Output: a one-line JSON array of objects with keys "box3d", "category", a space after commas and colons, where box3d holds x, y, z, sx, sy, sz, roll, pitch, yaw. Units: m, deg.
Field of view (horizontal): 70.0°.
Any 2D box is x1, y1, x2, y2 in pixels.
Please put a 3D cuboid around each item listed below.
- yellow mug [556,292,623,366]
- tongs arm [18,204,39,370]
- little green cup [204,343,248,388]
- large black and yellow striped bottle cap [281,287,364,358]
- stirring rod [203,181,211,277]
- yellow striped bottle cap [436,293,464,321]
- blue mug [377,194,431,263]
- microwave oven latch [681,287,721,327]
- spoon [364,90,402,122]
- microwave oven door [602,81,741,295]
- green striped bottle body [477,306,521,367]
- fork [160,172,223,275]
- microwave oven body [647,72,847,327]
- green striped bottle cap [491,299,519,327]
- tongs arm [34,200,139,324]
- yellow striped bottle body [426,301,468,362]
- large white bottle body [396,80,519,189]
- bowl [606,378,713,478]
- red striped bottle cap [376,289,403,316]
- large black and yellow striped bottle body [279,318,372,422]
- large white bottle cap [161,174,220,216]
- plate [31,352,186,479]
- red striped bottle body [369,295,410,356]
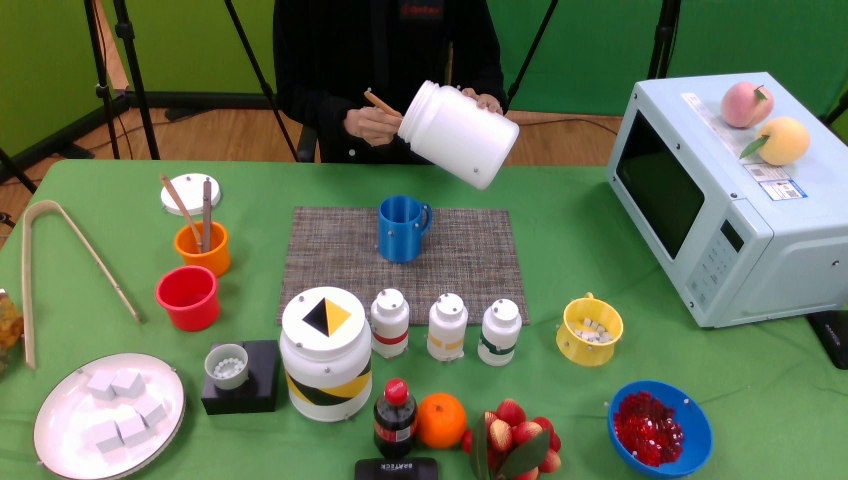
[{"box3d": [0.285, 0.145, 1.051, 0.100, 0.064, 0.130, 7, 45, 3], "category": "yellow mug"}, {"box3d": [-0.698, 0.069, 1.069, 0.028, 0.028, 0.385, -20, 50, -13], "category": "tongs arm"}, {"box3d": [-0.294, 0.190, 0.909, 0.061, 0.039, 0.061, 1, 48, 0], "category": "little green cup"}, {"box3d": [-0.141, 0.112, 0.847, 0.115, 0.019, 0.114, 5, 45, -4], "category": "large black and yellow striped bottle cap"}, {"box3d": [-0.396, -0.021, 1.107, 0.014, 0.006, 0.176, -1, 89, -2], "category": "stirring rod"}, {"box3d": [0.041, 0.106, 0.959, 0.044, 0.019, 0.044, -1, 49, 1], "category": "yellow striped bottle cap"}, {"box3d": [-0.035, -0.027, 1.159, 0.116, 0.106, 0.082, -24, 53, -26], "category": "blue mug"}, {"box3d": [0.494, 0.119, 1.087, 0.030, 0.029, 0.078, -6, 46, -9], "category": "microwave oven latch"}, {"box3d": [-0.026, -0.195, 1.050, 0.194, 0.041, 0.021, 38, 43, -12], "category": "spoon"}, {"box3d": [0.456, -0.107, 1.162, 0.039, 0.245, 0.353, -7, 47, -11], "category": "microwave oven door"}, {"box3d": [0.124, 0.151, 0.995, 0.063, 0.120, 0.063, 2, 46, -2], "category": "green striped bottle body"}, {"box3d": [-0.425, -0.030, 1.103, 0.028, 0.018, 0.207, -29, 99, -18], "category": "fork"}, {"box3d": [0.607, -0.089, 1.164, 0.326, 0.261, 0.438, -7, 46, -10], "category": "microwave oven body"}, {"box3d": [0.128, 0.115, 0.958, 0.044, 0.020, 0.044, 1, 47, -1], "category": "green striped bottle cap"}, {"box3d": [-0.622, 0.034, 1.105, 0.051, 0.026, 0.382, -32, 56, -25], "category": "tongs arm"}, {"box3d": [0.037, 0.142, 0.996, 0.063, 0.121, 0.062, 3, 46, -2], "category": "yellow striped bottle body"}, {"box3d": [0.056, -0.186, 1.057, 0.185, 0.131, 0.130, 29, 48, -2], "category": "large white bottle body"}, {"box3d": [0.340, 0.292, 0.906, 0.151, 0.077, 0.150, 2, 46, -2], "category": "bowl"}, {"box3d": [-0.054, 0.098, 0.958, 0.044, 0.018, 0.044, 0, 48, 1], "category": "red striped bottle cap"}, {"box3d": [-0.145, 0.173, 0.907, 0.131, 0.185, 0.130, 2, 46, -2], "category": "large black and yellow striped bottle body"}, {"box3d": [-0.483, -0.095, 1.253, 0.115, 0.018, 0.114, 2, 46, -2], "category": "large white bottle cap"}, {"box3d": [-0.459, 0.262, 0.898, 0.209, 0.038, 0.208, 2, 46, -2], "category": "plate"}, {"box3d": [-0.059, 0.135, 0.997, 0.063, 0.120, 0.062, 6, 49, -7], "category": "red striped bottle body"}]
